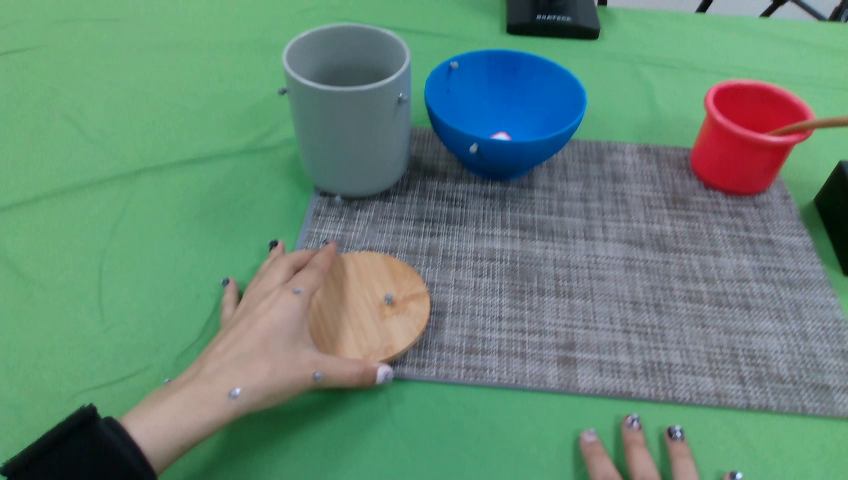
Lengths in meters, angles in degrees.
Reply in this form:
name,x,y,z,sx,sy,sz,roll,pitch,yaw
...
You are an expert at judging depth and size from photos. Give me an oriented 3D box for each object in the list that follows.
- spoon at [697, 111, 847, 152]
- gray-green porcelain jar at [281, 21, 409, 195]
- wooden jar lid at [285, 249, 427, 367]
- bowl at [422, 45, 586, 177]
name,x,y,z,sx,sy,sz,roll,pitch,yaw
spoon,0.329,-0.099,0.537,0.041,0.193,0.022,-29,100,-23
gray-green porcelain jar,-0.066,-0.112,0.543,0.106,0.127,0.105,1,48,-1
wooden jar lid,-0.051,0.053,0.466,0.108,0.021,0.107,1,47,-1
bowl,0.072,-0.114,0.583,0.151,0.077,0.150,1,48,-1
